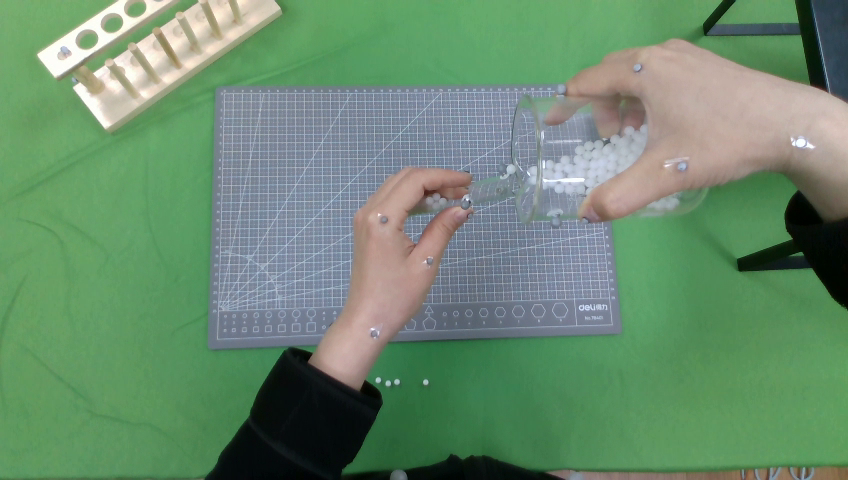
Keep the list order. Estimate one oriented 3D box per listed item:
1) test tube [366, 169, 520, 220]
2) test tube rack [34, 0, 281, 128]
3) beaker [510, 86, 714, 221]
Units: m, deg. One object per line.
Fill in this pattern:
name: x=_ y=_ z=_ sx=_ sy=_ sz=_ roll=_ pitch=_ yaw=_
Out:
test tube: x=0.007 y=-0.030 z=0.440 sx=0.017 sy=0.149 sz=0.017 roll=7 pitch=79 yaw=-43
test tube rack: x=-0.282 y=-0.233 z=0.667 sx=0.242 sy=0.085 sz=0.066 roll=-39 pitch=83 yaw=-10
beaker: x=0.105 y=-0.048 z=0.353 sx=0.100 sy=0.084 sz=0.073 roll=-2 pitch=75 yaw=-2
